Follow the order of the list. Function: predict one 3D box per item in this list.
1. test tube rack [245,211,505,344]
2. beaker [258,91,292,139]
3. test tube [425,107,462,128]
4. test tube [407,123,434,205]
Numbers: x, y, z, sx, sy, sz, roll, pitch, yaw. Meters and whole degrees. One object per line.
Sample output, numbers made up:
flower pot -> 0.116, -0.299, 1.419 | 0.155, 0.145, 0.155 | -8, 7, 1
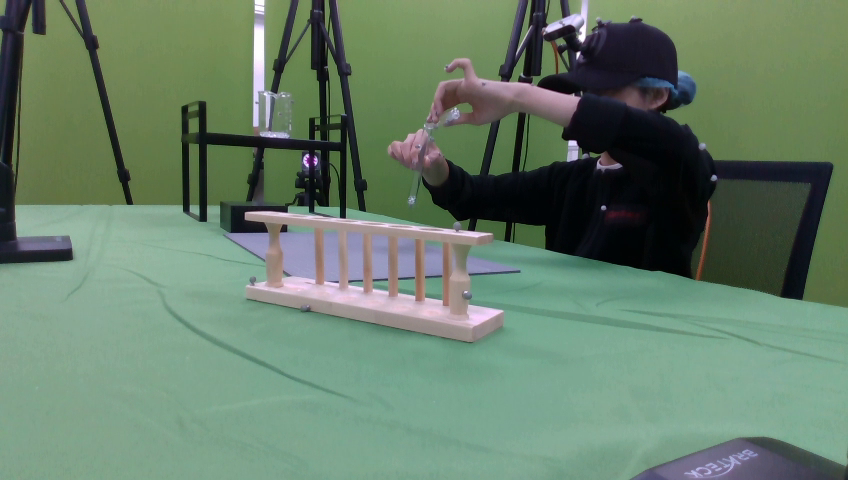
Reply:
test tube rack -> -0.049, 0.025, 0.547 | 0.241, 0.085, 0.067 | 7, 8, 28
beaker -> -0.331, -0.276, 1.343 | 0.074, 0.100, 0.083 | 0, 8, -20
test tube -> 0.027, -0.179, 0.891 | 0.017, 0.017, 0.150 | 1, 5, -15
test tube -> -0.007, -0.122, 1.001 | 0.017, 0.150, 0.017 | 10, 33, -7
